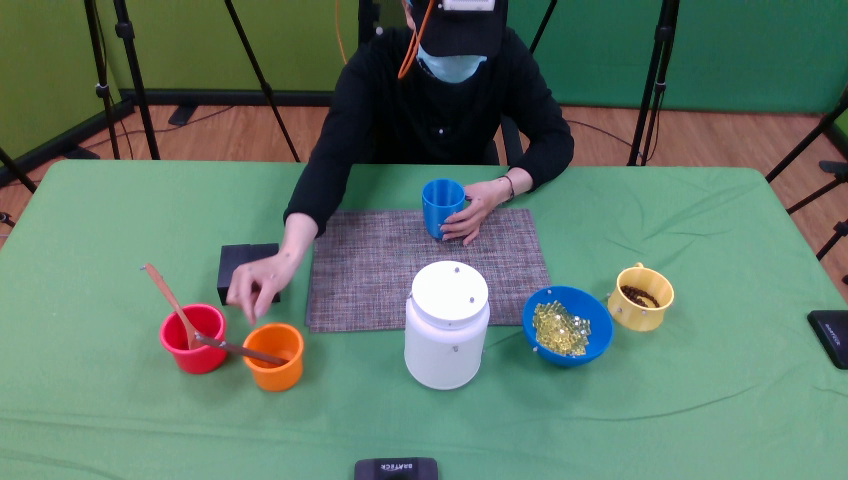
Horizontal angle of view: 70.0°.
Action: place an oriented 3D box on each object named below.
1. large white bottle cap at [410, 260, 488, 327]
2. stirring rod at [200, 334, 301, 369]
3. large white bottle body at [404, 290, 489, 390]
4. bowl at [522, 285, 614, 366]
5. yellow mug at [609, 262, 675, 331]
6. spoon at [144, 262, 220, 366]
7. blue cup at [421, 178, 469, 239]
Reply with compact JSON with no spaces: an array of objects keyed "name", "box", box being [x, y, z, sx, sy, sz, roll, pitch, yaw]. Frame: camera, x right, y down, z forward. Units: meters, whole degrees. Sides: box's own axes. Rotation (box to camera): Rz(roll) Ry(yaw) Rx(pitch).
[{"name":"large white bottle cap","box":[0.037,0.077,0.893,0.115,0.018,0.114,2,47,-2]},{"name":"stirring rod","box":[-0.262,0.173,0.930,0.177,0.006,0.014,28,27,-39]},{"name":"large white bottle body","box":[0.033,0.136,0.955,0.131,0.185,0.130,2,46,-2]},{"name":"bowl","box":[0.235,0.158,1.022,0.151,0.077,0.150,2,46,-2]},{"name":"yellow mug","box":[0.393,0.094,1.103,0.100,0.064,0.130,7,45,4]},{"name":"spoon","box":[-0.389,0.118,0.971,0.041,0.021,0.194,-34,101,-33]},{"name":"blue cup","box":[0.037,-0.057,1.193,0.092,0.101,0.092,0,46,0]}]
